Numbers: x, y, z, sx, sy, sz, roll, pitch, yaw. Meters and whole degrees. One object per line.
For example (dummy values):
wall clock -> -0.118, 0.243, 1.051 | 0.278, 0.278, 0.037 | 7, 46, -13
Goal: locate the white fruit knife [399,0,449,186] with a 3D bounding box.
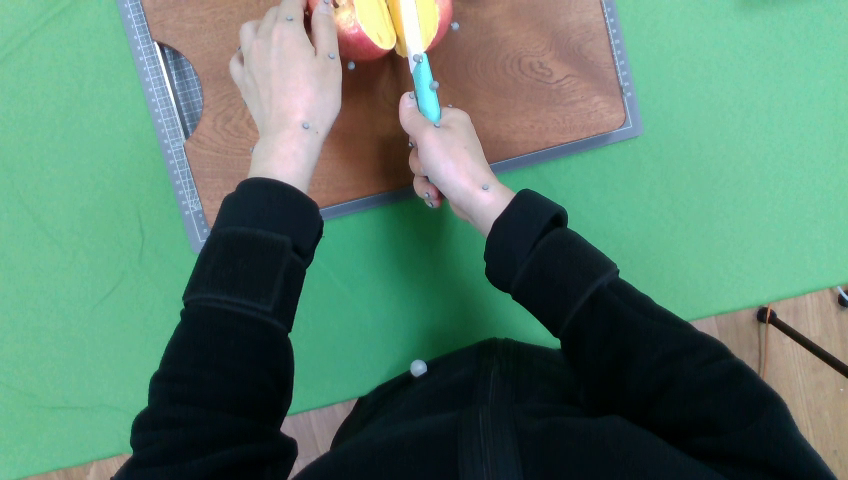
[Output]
white fruit knife -> -0.005, -0.149, 0.509 | 0.016, 0.027, 0.207 | -11, 92, -38

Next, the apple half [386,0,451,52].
apple half -> -0.001, -0.199, 0.517 | 0.033, 0.081, 0.081 | -10, 97, -34

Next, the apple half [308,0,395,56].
apple half -> -0.065, -0.192, 0.510 | 0.053, 0.074, 0.081 | -18, 98, 25
